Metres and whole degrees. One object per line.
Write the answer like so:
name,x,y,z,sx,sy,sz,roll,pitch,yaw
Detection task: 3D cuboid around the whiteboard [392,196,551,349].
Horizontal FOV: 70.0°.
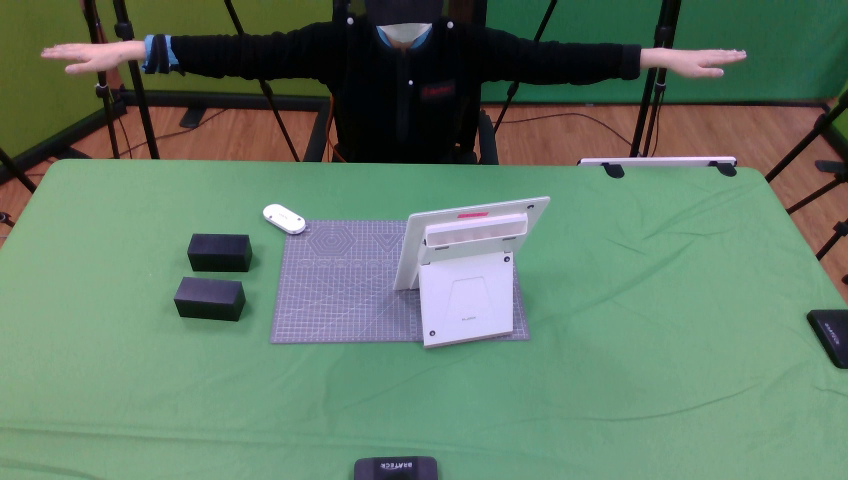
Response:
whiteboard,0.077,0.071,0.977,0.217,0.306,0.143,-7,67,-11

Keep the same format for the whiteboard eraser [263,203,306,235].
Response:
whiteboard eraser,-0.281,-0.043,1.216,0.101,0.019,0.041,29,53,25
